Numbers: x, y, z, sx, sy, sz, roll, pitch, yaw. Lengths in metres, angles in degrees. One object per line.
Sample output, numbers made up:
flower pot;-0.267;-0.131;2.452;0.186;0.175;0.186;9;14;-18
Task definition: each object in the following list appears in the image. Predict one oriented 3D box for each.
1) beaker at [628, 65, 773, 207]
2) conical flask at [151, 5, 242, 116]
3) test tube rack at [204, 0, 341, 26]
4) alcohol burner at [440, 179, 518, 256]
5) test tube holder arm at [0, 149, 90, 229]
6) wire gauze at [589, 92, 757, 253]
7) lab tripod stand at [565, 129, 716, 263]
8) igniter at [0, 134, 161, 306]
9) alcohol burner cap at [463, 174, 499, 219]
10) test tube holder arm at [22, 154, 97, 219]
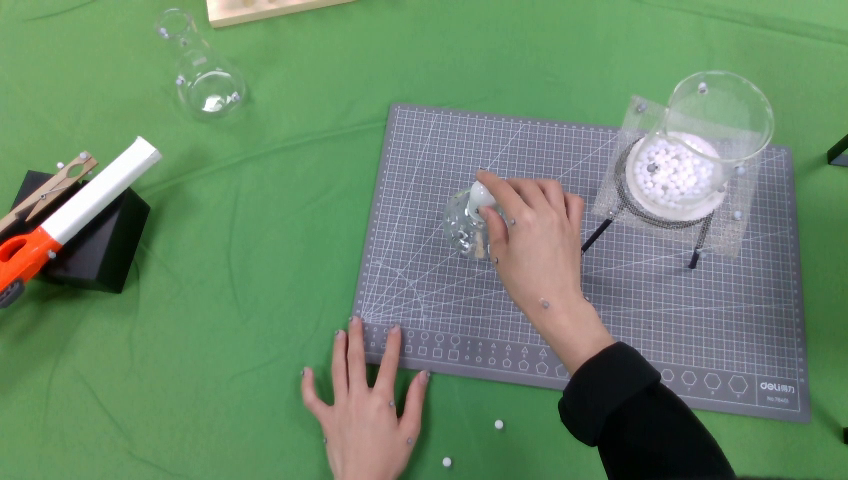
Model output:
beaker;0.204;-0.073;0.470;0.084;0.101;0.073;-15;71;-4
conical flask;-0.248;-0.195;0.650;0.075;0.122;0.075;0;69;1
test tube rack;-0.151;-0.331;0.717;0.242;0.086;0.066;-13;70;-4
alcohol burner;0.055;-0.029;0.588;0.078;0.120;0.077;1;68;-1
test tube holder arm;-0.399;-0.027;0.590;0.178;0.015;0.013;-45;105;-13
wire gauze;0.216;-0.060;0.517;0.121;0.011;0.124;21;70;5
lab tripod stand;0.210;-0.033;0.577;0.148;0.132;0.147;0;69;-1
igniter;-0.369;0.000;0.581;0.057;0.025;0.276;36;73;22
alcohol burner cap;0.053;-0.043;0.555;0.034;0.048;0.033;0;69;0
test tube holder arm;-0.364;-0.053;0.602;0.088;0.015;0.010;-44;105;-14
